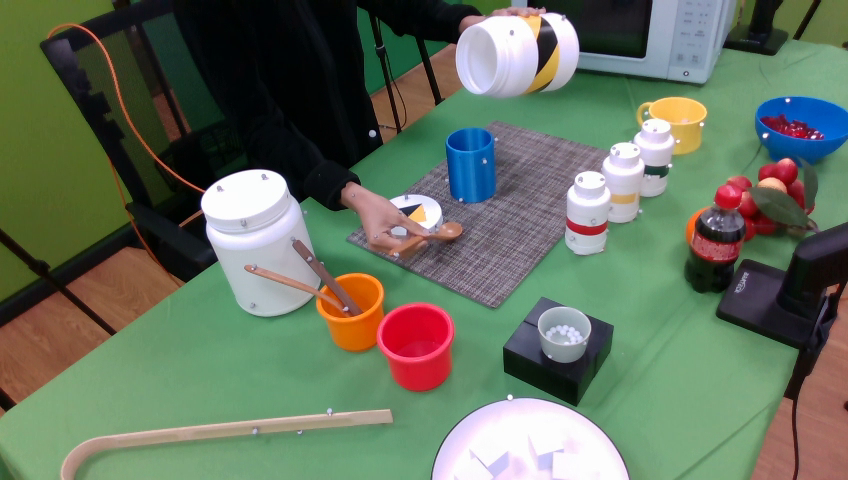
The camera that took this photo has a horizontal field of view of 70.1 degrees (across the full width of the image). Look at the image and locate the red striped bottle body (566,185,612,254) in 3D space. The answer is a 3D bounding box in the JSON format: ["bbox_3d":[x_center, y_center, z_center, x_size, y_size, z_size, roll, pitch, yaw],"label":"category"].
[{"bbox_3d":[0.248,-0.041,0.911,0.063,0.120,0.062,-4,41,4],"label":"red striped bottle body"}]

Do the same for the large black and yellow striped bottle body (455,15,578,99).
[{"bbox_3d":[0.157,-0.312,1.033,0.185,0.131,0.129,-17,38,-33],"label":"large black and yellow striped bottle body"}]

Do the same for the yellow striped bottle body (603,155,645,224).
[{"bbox_3d":[0.314,-0.091,0.958,0.063,0.121,0.062,-4,40,4],"label":"yellow striped bottle body"}]

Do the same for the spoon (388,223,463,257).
[{"bbox_3d":[0.002,-0.002,0.903,0.041,0.021,0.195,22,19,27],"label":"spoon"}]

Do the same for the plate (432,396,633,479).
[{"bbox_3d":[0.112,0.261,0.634,0.209,0.038,0.208,-5,40,4],"label":"plate"}]

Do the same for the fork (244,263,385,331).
[{"bbox_3d":[-0.141,0.077,0.807,0.209,0.018,0.028,30,44,-24],"label":"fork"}]

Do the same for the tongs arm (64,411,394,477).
[{"bbox_3d":[-0.228,0.241,0.715,0.385,0.026,0.050,-5,43,4],"label":"tongs arm"}]

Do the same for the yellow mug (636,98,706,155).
[{"bbox_3d":[0.453,-0.217,1.128,0.100,0.064,0.129,-34,46,-28],"label":"yellow mug"}]

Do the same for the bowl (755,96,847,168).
[{"bbox_3d":[0.645,-0.177,1.041,0.151,0.077,0.150,-5,40,4],"label":"bowl"}]

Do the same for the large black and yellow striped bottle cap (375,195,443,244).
[{"bbox_3d":[-0.025,-0.036,1.022,0.115,0.019,0.114,-4,41,4],"label":"large black and yellow striped bottle cap"}]

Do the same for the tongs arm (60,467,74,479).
[{"bbox_3d":[-0.239,0.301,0.648,0.386,0.028,0.028,6,49,16],"label":"tongs arm"}]

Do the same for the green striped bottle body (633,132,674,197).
[{"bbox_3d":[0.376,-0.135,1.001,0.063,0.120,0.063,-5,40,5],"label":"green striped bottle body"}]

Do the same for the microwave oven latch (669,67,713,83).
[{"bbox_3d":[0.556,-0.349,1.261,0.078,0.029,0.030,16,46,27],"label":"microwave oven latch"}]

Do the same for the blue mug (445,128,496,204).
[{"bbox_3d":[0.083,-0.139,1.057,0.082,0.106,0.116,-2,40,6],"label":"blue mug"}]

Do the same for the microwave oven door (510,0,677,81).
[{"bbox_3d":[0.354,-0.478,1.291,0.353,0.245,0.039,15,45,25],"label":"microwave oven door"}]

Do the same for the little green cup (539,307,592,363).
[{"bbox_3d":[0.168,0.115,0.721,0.061,0.039,0.061,-4,42,4],"label":"little green cup"}]

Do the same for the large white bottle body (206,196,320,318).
[{"bbox_3d":[-0.233,0.008,0.876,0.130,0.185,0.130,-4,40,4],"label":"large white bottle body"}]

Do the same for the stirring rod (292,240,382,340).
[{"bbox_3d":[-0.119,0.068,0.826,0.176,0.006,0.014,49,59,-4],"label":"stirring rod"}]

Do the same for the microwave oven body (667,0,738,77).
[{"bbox_3d":[0.462,-0.552,1.369,0.439,0.261,0.326,15,45,26],"label":"microwave oven body"}]

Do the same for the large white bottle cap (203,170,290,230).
[{"bbox_3d":[-0.241,-0.057,0.822,0.115,0.018,0.114,-4,40,4],"label":"large white bottle cap"}]

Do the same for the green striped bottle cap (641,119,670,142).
[{"bbox_3d":[0.371,-0.175,0.968,0.044,0.020,0.044,-4,42,4],"label":"green striped bottle cap"}]

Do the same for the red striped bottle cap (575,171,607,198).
[{"bbox_3d":[0.242,-0.082,0.876,0.044,0.018,0.044,-5,44,5],"label":"red striped bottle cap"}]

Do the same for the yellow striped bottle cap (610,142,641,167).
[{"bbox_3d":[0.308,-0.131,0.925,0.044,0.019,0.044,-4,45,5],"label":"yellow striped bottle cap"}]
